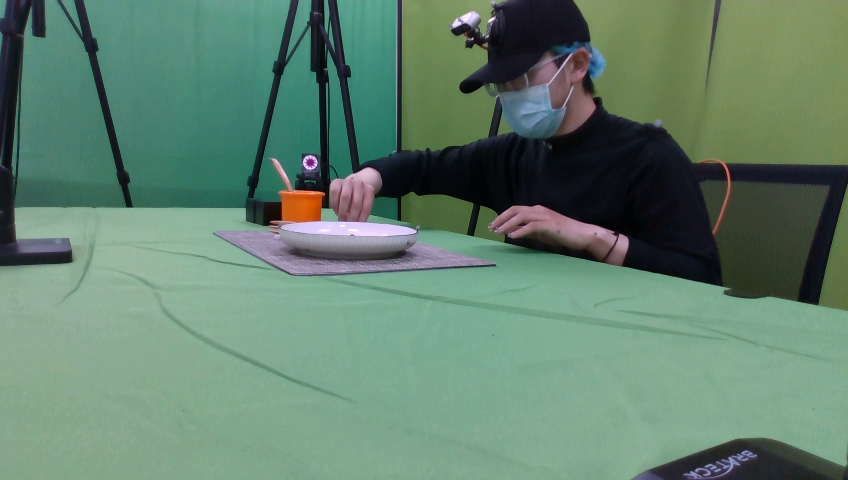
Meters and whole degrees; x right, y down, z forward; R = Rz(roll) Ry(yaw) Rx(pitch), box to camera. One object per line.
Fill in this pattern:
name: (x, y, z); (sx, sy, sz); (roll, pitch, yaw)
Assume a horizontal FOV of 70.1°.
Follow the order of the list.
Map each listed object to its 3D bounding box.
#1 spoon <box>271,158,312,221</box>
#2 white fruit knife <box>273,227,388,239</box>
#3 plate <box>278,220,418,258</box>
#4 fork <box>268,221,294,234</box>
spoon: (-0.277, -0.103, 1.247); (0.042, 0.193, 0.021); (-5, -34, -39)
white fruit knife: (-0.158, -0.009, 1.055); (0.208, 0.016, 0.027); (-3, -21, -23)
plate: (-0.114, -0.002, 0.914); (0.209, 0.038, 0.209); (2, 7, 0)
fork: (-0.176, -0.020, 1.094); (0.208, 0.028, 0.018); (1, 20, -28)
